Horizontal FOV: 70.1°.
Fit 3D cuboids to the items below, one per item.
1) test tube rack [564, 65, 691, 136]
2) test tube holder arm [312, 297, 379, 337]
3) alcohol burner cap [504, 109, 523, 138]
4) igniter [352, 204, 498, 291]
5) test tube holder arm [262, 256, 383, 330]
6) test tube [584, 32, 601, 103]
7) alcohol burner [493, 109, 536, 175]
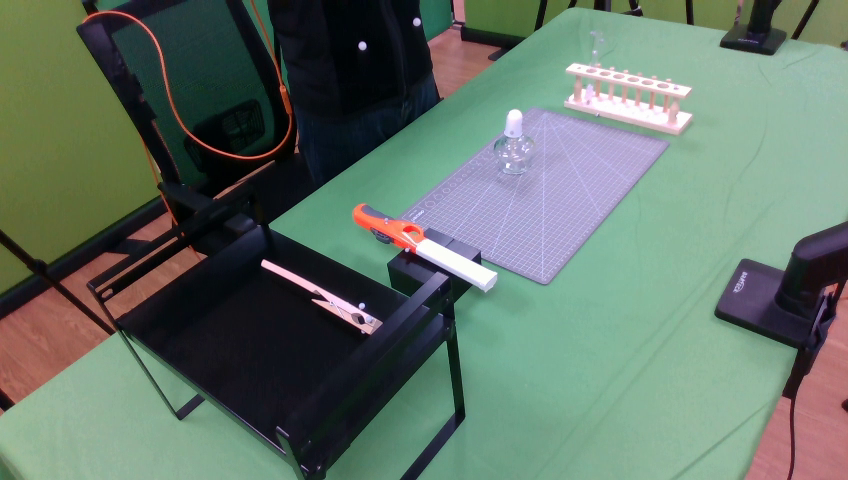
[{"bbox_3d":[0.404,-0.287,1.204,0.240,0.085,0.067,24,49,32],"label":"test tube rack"},{"bbox_3d":[-0.082,0.075,0.622,0.087,0.015,0.010,27,81,33],"label":"test tube holder arm"},{"bbox_3d":[0.159,-0.206,1.063,0.034,0.048,0.033,0,41,1],"label":"alcohol burner cap"},{"bbox_3d":[-0.009,0.005,0.895,0.274,0.025,0.057,27,48,32],"label":"igniter"},{"bbox_3d":[-0.113,0.054,0.647,0.177,0.015,0.013,26,80,33],"label":"test tube holder arm"},{"bbox_3d":[0.333,-0.338,1.198,0.017,0.151,0.017,-3,45,3],"label":"test tube"},{"bbox_3d":[0.162,-0.179,1.087,0.078,0.119,0.077,-5,39,5],"label":"alcohol burner"}]
